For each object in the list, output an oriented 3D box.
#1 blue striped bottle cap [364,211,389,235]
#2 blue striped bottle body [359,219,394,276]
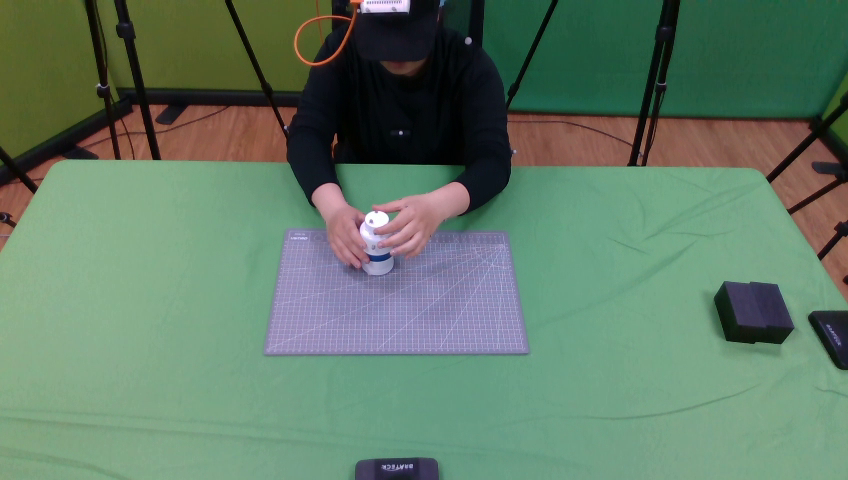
[{"bbox_3d":[-0.084,-0.031,1.079,0.044,0.021,0.044,1,46,-1],"label":"blue striped bottle cap"},{"bbox_3d":[-0.087,0.005,1.115,0.063,0.121,0.062,2,45,-2],"label":"blue striped bottle body"}]
